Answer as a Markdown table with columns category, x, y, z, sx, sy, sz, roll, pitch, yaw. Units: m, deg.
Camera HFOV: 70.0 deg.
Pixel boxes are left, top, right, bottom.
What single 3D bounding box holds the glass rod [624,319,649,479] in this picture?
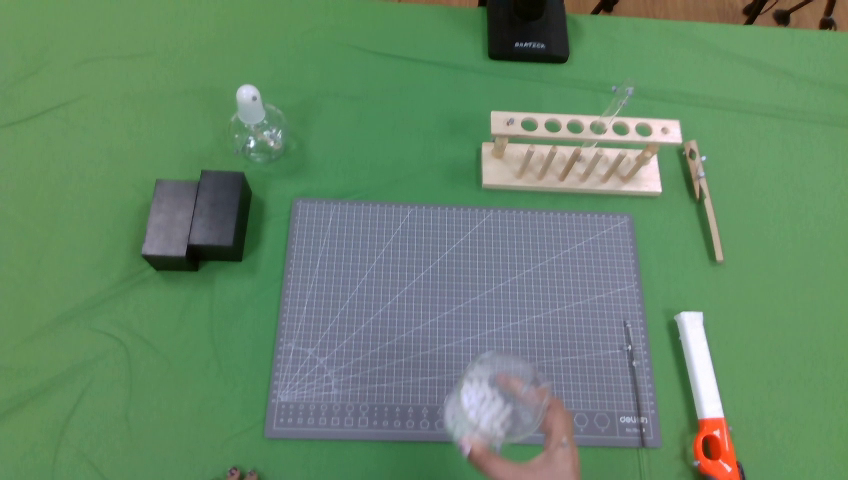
| category | x | y | z | sx | sy | sz | roll | pitch | yaw |
| --- | --- | --- | --- | --- | --- | --- | --- | --- | --- |
| glass rod | 0.249 | 0.189 | 0.711 | 0.008 | 0.008 | 0.198 | 2 | 67 | -4 |

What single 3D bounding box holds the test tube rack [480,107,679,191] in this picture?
| category | x | y | z | sx | sy | sz | roll | pitch | yaw |
| --- | --- | --- | --- | --- | --- | --- | --- | --- | --- |
| test tube rack | 0.200 | -0.117 | 0.796 | 0.242 | 0.085 | 0.066 | 2 | 67 | -3 |

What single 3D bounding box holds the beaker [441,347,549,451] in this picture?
| category | x | y | z | sx | sy | sz | roll | pitch | yaw |
| --- | --- | --- | --- | --- | --- | --- | --- | --- | --- |
| beaker | 0.058 | 0.144 | 0.535 | 0.084 | 0.101 | 0.073 | -11 | 66 | -14 |

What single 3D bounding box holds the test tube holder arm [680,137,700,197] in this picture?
| category | x | y | z | sx | sy | sz | roll | pitch | yaw |
| --- | --- | --- | --- | --- | --- | --- | --- | --- | --- |
| test tube holder arm | 0.371 | -0.101 | 0.840 | 0.010 | 0.015 | 0.087 | -17 | 66 | 27 |

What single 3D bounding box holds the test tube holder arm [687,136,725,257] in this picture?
| category | x | y | z | sx | sy | sz | roll | pitch | yaw |
| --- | --- | --- | --- | --- | --- | --- | --- | --- | --- |
| test tube holder arm | 0.380 | -0.061 | 0.821 | 0.013 | 0.015 | 0.177 | -18 | 66 | 27 |

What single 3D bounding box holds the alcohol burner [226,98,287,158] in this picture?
| category | x | y | z | sx | sy | sz | roll | pitch | yaw |
| --- | --- | --- | --- | --- | --- | --- | --- | --- | --- |
| alcohol burner | -0.214 | -0.156 | 0.764 | 0.078 | 0.120 | 0.077 | 1 | 65 | -2 |

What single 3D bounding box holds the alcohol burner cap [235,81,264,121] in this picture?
| category | x | y | z | sx | sy | sz | roll | pitch | yaw |
| --- | --- | --- | --- | --- | --- | --- | --- | --- | --- |
| alcohol burner cap | -0.212 | -0.171 | 0.732 | 0.034 | 0.048 | 0.033 | 4 | 61 | -8 |

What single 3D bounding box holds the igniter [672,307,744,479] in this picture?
| category | x | y | z | sx | sy | sz | roll | pitch | yaw |
| --- | --- | --- | --- | --- | --- | --- | --- | --- | --- |
| igniter | 0.330 | 0.212 | 0.701 | 0.057 | 0.025 | 0.274 | 3 | 67 | -14 |

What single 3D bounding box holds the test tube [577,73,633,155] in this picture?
| category | x | y | z | sx | sy | sz | roll | pitch | yaw |
| --- | --- | --- | --- | --- | --- | --- | --- | --- | --- |
| test tube | 0.222 | -0.153 | 0.758 | 0.017 | 0.151 | 0.017 | 4 | 63 | -7 |
